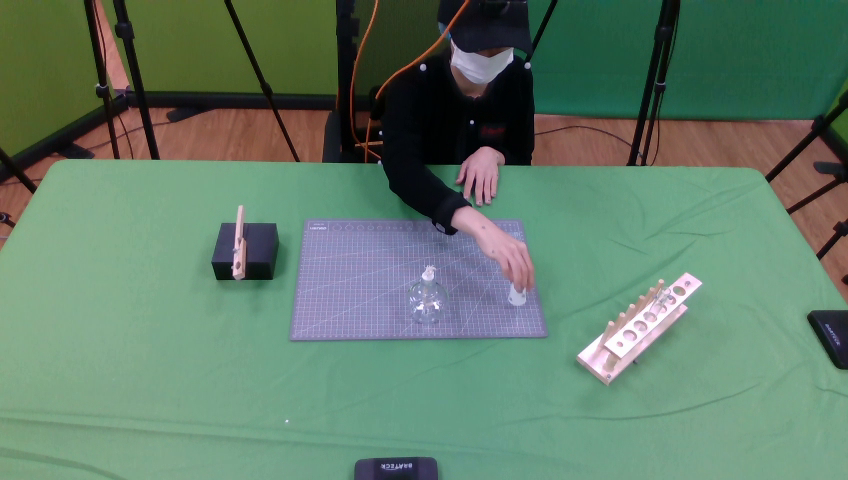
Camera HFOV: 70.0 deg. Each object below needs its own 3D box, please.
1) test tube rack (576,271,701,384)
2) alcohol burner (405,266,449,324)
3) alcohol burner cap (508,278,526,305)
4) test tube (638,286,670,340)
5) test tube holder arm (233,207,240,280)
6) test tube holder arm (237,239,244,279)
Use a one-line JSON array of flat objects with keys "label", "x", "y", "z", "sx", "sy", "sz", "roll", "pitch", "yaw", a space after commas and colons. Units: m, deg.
[{"label": "test tube rack", "x": 0.373, "y": 0.138, "z": 1.047, "sx": 0.242, "sy": 0.085, "sz": 0.066, "roll": -31, "pitch": 56, "yaw": -29}, {"label": "alcohol burner", "x": 0.005, "y": 0.089, "z": 1.043, "sx": 0.078, "sy": 0.120, "sz": 0.077, "roll": 1, "pitch": 44, "yaw": -1}, {"label": "alcohol burner cap", "x": 0.166, "y": 0.089, "z": 1.073, "sx": 0.034, "sy": 0.048, "sz": 0.033, "roll": -1, "pitch": 45, "yaw": 2}, {"label": "test tube", "x": 0.373, "y": 0.123, "z": 0.994, "sx": 0.017, "sy": 0.151, "sz": 0.017, "roll": 0, "pitch": 51, "yaw": 0}, {"label": "test tube holder arm", "x": -0.342, "y": 0.002, "z": 1.106, "sx": 0.013, "sy": 0.015, "sz": 0.177, "roll": -10, "pitch": 47, "yaw": -10}, {"label": "test tube holder arm", "x": -0.326, "y": 0.033, "z": 1.076, "sx": 0.010, "sy": 0.015, "sz": 0.087, "roll": -9, "pitch": 47, "yaw": -9}]
